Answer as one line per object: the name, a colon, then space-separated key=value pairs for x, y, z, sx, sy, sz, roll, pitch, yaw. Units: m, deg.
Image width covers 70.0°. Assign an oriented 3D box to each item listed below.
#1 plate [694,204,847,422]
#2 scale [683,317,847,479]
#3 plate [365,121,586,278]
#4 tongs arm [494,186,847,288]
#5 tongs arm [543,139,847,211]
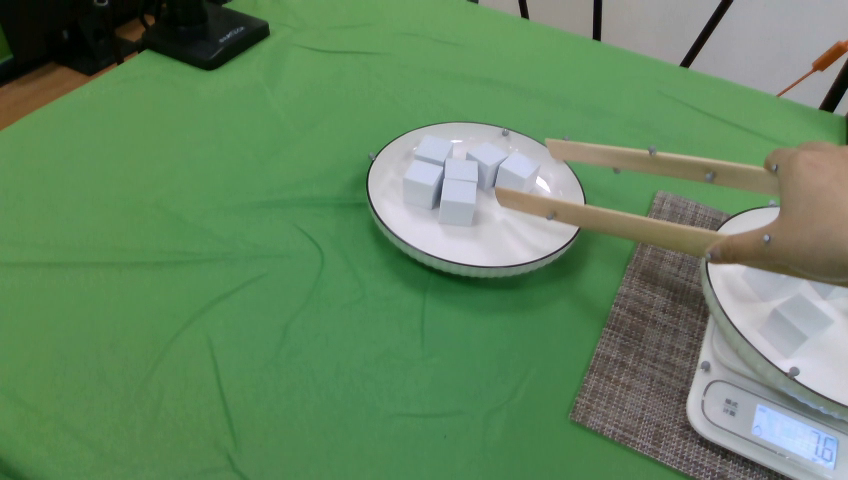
plate: x=0.313 y=0.056 z=0.474 sx=0.208 sy=0.039 sz=0.205 roll=4 pitch=47 yaw=-4
scale: x=0.298 y=0.097 z=0.480 sx=0.148 sy=0.032 sz=0.200 roll=24 pitch=49 yaw=16
plate: x=0.048 y=-0.039 z=0.580 sx=0.209 sy=0.038 sz=0.207 roll=4 pitch=46 yaw=-4
tongs arm: x=0.200 y=-0.005 z=0.435 sx=0.384 sy=0.028 sz=0.028 roll=16 pitch=49 yaw=45
tongs arm: x=0.230 y=-0.034 z=0.451 sx=0.050 sy=0.027 sz=0.381 roll=-44 pitch=37 yaw=-24
